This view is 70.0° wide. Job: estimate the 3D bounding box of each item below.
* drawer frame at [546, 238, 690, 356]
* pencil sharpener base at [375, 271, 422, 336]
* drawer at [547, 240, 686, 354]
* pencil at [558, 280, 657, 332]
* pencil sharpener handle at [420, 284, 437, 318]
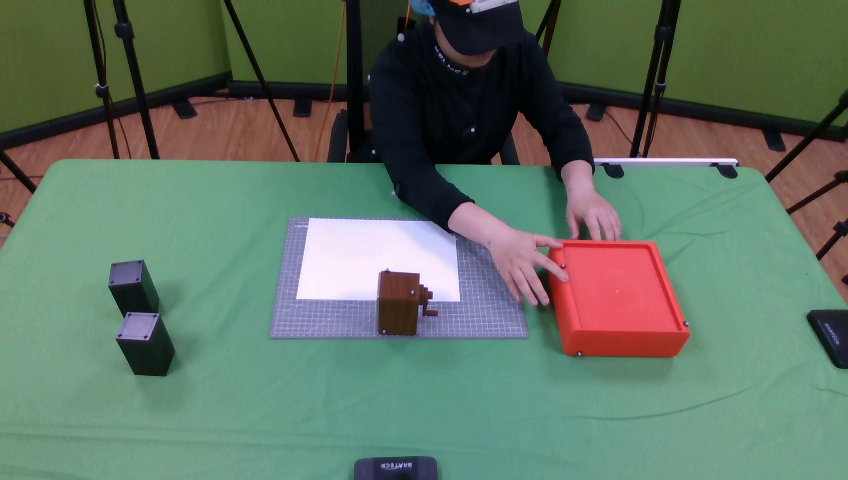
[{"bbox_3d":[0.337,0.098,1.084,0.202,0.083,0.212,1,46,-4],"label":"drawer frame"},{"bbox_3d":[-0.042,0.109,1.025,0.077,0.107,0.061,3,45,-2],"label":"pencil sharpener base"},{"bbox_3d":[0.336,0.099,1.087,0.194,0.073,0.210,2,47,-3],"label":"drawer"},{"bbox_3d":[0.334,0.121,1.105,0.193,0.012,0.012,27,49,14],"label":"pencil"},{"bbox_3d":[0.009,0.104,1.016,0.030,0.068,0.036,3,38,-2],"label":"pencil sharpener handle"}]
